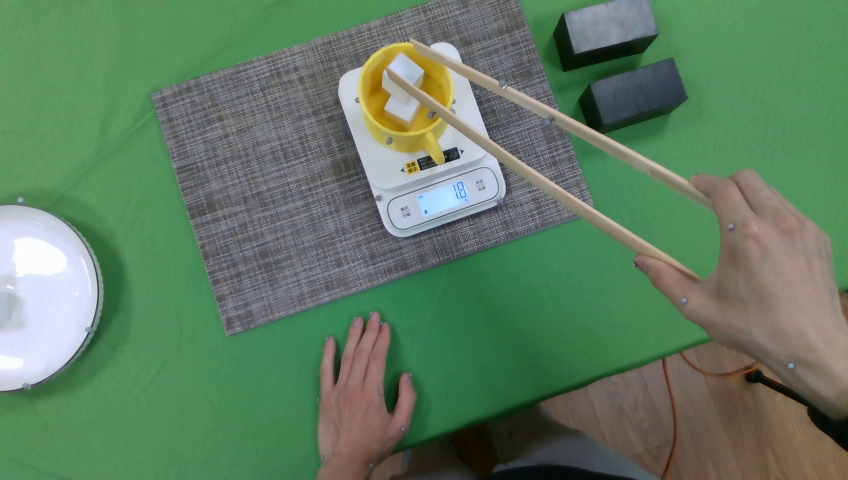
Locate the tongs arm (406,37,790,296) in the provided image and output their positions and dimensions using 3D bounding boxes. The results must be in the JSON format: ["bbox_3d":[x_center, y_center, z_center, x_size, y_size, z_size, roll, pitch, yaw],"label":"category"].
[{"bbox_3d":[0.114,-0.078,0.499,0.381,0.027,0.050,34,85,28],"label":"tongs arm"}]

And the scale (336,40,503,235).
[{"bbox_3d":[-0.006,-0.119,0.697,0.149,0.031,0.200,-19,86,-2],"label":"scale"}]

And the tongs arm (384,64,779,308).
[{"bbox_3d":[0.098,-0.059,0.499,0.384,0.028,0.028,39,84,28],"label":"tongs arm"}]

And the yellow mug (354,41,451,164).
[{"bbox_3d":[-0.015,-0.140,0.652,0.100,0.064,0.130,-29,87,-4],"label":"yellow mug"}]

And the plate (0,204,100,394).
[{"bbox_3d":[-0.463,0.065,0.676,0.208,0.039,0.207,0,85,-1],"label":"plate"}]
